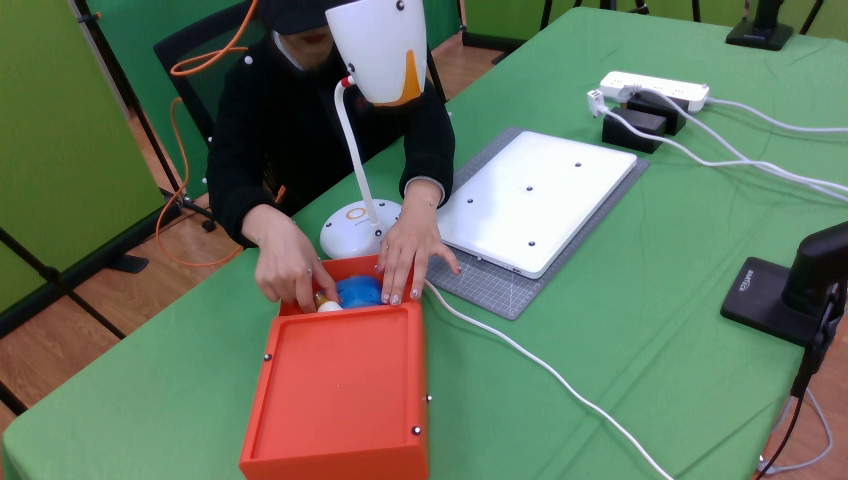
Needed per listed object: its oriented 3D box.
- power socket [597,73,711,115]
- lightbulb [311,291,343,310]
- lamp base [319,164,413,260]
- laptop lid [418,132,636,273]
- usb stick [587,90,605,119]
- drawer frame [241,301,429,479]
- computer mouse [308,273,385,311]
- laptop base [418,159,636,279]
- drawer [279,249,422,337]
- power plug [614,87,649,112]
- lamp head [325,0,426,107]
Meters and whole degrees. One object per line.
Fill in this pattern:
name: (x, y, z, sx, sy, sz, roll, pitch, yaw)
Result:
power socket: (0.469, -0.304, 1.249, 0.225, 0.033, 0.072, 20, 49, 30)
lightbulb: (-0.120, 0.111, 0.828, 0.060, 0.059, 0.107, -32, 65, -25)
lamp base: (-0.102, -0.068, 0.962, 0.161, 0.181, 0.177, -30, 46, -20)
laptop lid: (0.181, -0.084, 1.036, 0.239, 0.013, 0.358, 22, 49, 35)
usb stick: (0.334, -0.258, 1.170, 0.021, 0.059, 0.027, -28, 44, -5)
drawer frame: (-0.096, 0.183, 0.741, 0.202, 0.083, 0.212, -6, 40, 3)
computer mouse: (-0.114, 0.086, 0.879, 0.117, 0.041, 0.062, -16, 45, 4)
laptop base: (0.185, -0.074, 1.042, 0.233, 0.023, 0.355, 20, 48, 35)
drawer: (-0.100, 0.115, 0.828, 0.194, 0.073, 0.210, -7, 41, 2)
power plug: (0.406, -0.275, 1.192, 0.035, 0.053, 0.072, -15, 24, -15)
lamp head: (-0.049, -0.218, 0.708, 0.112, 0.123, 0.112, -9, 24, 5)
